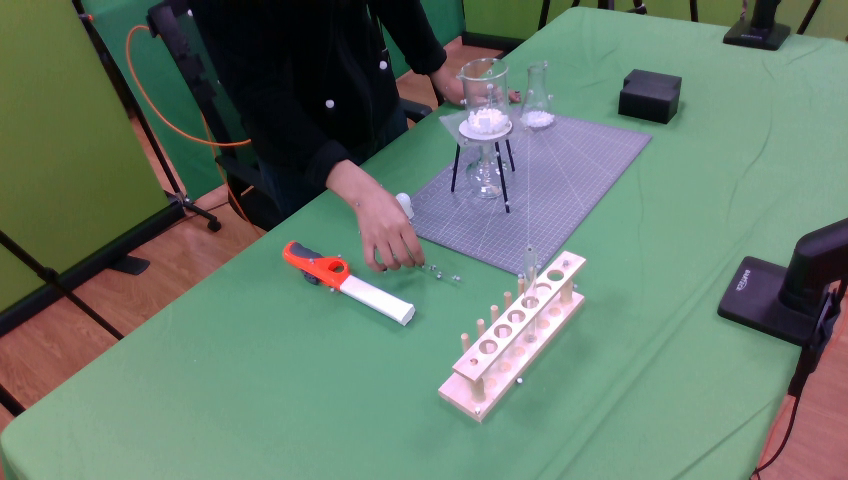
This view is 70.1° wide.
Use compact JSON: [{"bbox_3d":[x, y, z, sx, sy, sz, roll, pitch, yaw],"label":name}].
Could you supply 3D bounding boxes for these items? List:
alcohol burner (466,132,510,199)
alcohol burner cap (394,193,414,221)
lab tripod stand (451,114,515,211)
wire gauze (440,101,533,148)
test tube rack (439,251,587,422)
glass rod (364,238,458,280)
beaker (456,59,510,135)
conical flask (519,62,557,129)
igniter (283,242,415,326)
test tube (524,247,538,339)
[{"bbox_3d":[0.110,-0.132,1.044,0.078,0.119,0.077,-5,38,5],"label":"alcohol burner"},{"bbox_3d":[-0.036,-0.059,1.041,0.034,0.048,0.033,-5,44,6],"label":"alcohol burner cap"},{"bbox_3d":[0.113,-0.140,1.037,0.148,0.132,0.147,-6,38,5],"label":"lab tripod stand"},{"bbox_3d":[0.100,-0.189,0.995,0.125,0.011,0.120,-16,38,-6],"label":"wire gauze"},{"bbox_3d":[0.118,0.111,0.780,0.066,0.085,0.243,26,51,35],"label":"test tube rack"},{"bbox_3d":[-0.026,0.029,0.965,0.198,0.008,0.008,21,49,35],"label":"glass rod"},{"bbox_3d":[0.098,-0.226,0.964,0.084,0.101,0.073,-7,39,4],"label":"beaker"},{"bbox_3d":[0.225,-0.287,1.198,0.075,0.122,0.075,-6,40,5],"label":"conical flask"},{"bbox_3d":[-0.126,0.062,0.931,0.274,0.025,0.057,24,61,33],"label":"igniter"},{"bbox_3d":[0.133,0.070,0.749,0.017,0.151,0.017,-5,38,4],"label":"test tube"}]
